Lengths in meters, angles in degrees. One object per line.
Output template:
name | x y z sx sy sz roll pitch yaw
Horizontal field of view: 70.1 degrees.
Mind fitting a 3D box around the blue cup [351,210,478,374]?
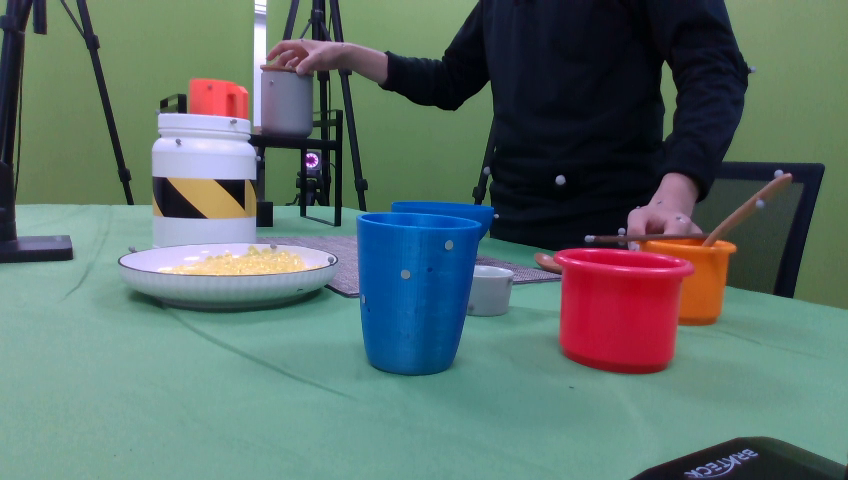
blue cup | -0.009 0.034 0.414 0.093 0.100 0.092 4 8 0

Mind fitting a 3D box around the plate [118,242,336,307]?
plate | -0.194 0.033 0.615 0.209 0.038 0.209 2 7 0

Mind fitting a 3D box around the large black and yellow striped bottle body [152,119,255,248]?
large black and yellow striped bottle body | -0.296 -0.070 0.819 0.131 0.184 0.130 2 7 0

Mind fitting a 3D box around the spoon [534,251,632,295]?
spoon | 0.193 0.038 0.753 0.042 0.021 0.193 14 2 -20

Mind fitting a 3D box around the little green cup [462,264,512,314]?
little green cup | 0.053 0.047 0.580 0.061 0.038 0.061 3 8 0

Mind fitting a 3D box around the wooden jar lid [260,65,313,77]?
wooden jar lid | -0.283 -0.341 1.245 0.108 0.020 0.108 7 8 -1

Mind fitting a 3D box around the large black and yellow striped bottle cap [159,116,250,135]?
large black and yellow striped bottle cap | -0.292 -0.153 0.810 0.115 0.019 0.115 3 8 0

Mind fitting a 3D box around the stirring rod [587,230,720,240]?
stirring rod | 0.226 -0.005 0.587 0.177 0.006 0.014 -2 9 -29

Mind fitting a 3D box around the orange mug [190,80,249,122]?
orange mug | -0.393 -0.257 1.173 0.126 0.100 0.084 1 6 25

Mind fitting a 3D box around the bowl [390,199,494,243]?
bowl | 0.024 -0.015 0.872 0.151 0.077 0.151 3 7 0

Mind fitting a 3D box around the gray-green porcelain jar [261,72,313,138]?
gray-green porcelain jar | -0.284 -0.276 1.253 0.106 0.126 0.106 2 8 0

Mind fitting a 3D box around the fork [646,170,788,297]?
fork | 0.256 0.004 0.543 0.028 0.018 0.207 3 -36 -9
